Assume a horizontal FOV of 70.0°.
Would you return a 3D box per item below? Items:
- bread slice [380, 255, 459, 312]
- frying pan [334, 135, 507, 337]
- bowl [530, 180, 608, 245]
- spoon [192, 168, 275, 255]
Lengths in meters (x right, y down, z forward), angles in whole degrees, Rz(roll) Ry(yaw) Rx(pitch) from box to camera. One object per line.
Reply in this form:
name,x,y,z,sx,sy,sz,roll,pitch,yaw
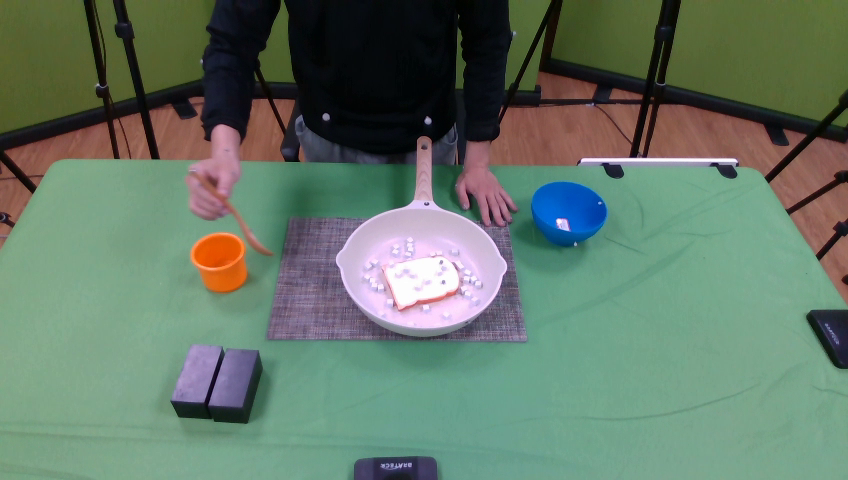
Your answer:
bread slice,-0.005,0.074,1.119,0.134,0.018,0.106,-16,50,-16
frying pan,-0.004,-0.026,1.160,0.307,0.103,0.485,4,55,-2
bowl,0.284,-0.044,1.222,0.151,0.077,0.150,2,46,-2
spoon,-0.295,-0.040,0.944,0.041,0.195,0.021,19,57,47
